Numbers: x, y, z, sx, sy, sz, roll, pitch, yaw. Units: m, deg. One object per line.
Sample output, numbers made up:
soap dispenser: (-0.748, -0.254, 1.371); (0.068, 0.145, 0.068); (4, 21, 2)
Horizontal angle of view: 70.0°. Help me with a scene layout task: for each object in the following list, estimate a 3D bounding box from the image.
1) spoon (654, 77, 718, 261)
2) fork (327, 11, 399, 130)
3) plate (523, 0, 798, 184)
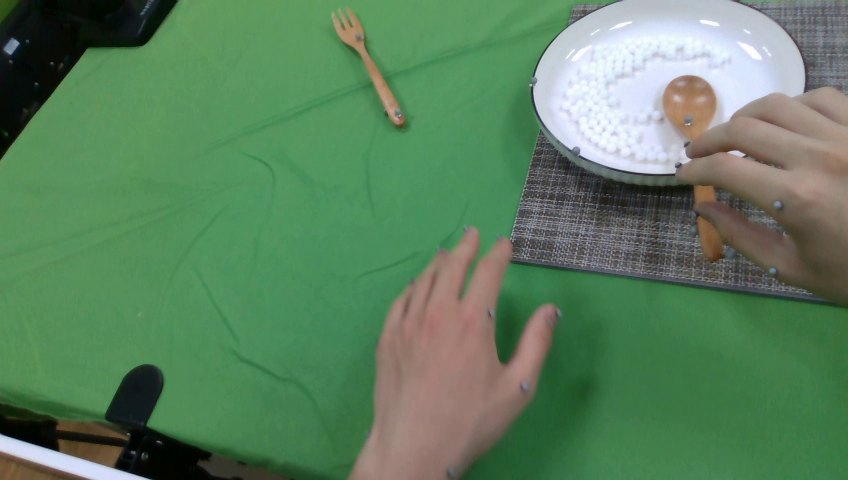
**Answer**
spoon: (0.192, -0.060, 0.438); (0.041, 0.022, 0.192); (3, 45, 14)
fork: (-0.064, -0.181, 0.631); (0.028, 0.019, 0.205); (-22, 52, -6)
plate: (0.188, -0.125, 0.502); (0.207, 0.039, 0.205); (-8, 56, 12)
